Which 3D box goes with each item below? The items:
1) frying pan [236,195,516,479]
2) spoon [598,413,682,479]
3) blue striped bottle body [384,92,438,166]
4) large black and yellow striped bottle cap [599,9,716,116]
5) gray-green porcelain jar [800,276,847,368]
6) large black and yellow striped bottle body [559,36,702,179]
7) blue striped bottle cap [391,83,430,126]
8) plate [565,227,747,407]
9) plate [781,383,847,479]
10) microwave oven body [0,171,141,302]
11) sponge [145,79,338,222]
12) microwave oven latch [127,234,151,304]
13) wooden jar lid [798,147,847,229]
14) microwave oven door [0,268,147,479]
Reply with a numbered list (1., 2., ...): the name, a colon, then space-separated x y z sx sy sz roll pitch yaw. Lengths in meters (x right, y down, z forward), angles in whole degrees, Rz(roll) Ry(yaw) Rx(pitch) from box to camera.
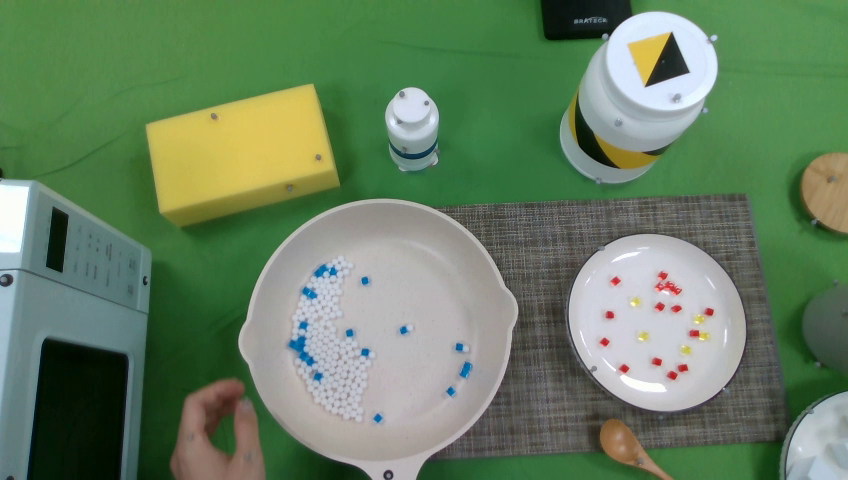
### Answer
1. frying pan: -0.041 0.190 0.650 0.307 0.103 0.484 -7 67 1
2. spoon: 0.272 0.264 0.678 0.193 0.022 0.041 38 62 7
3. blue striped bottle body: -0.015 -0.140 0.726 0.063 0.121 0.062 0 76 -1
4. large black and yellow striped bottle cap: 0.239 -0.183 0.620 0.115 0.019 0.114 0 75 0
5. gray-green porcelain jar: 0.498 0.088 0.674 0.106 0.127 0.105 0 75 -1
6. large black and yellow striped bottle body: 0.239 -0.162 0.703 0.131 0.185 0.130 0 75 0
7. blue striped bottle cap: -0.015 -0.152 0.676 0.044 0.021 0.044 0 73 1
8. plate: 0.267 0.089 0.713 0.209 0.038 0.208 0 76 0
9. plate: 0.499 0.264 0.676 0.208 0.039 0.206 0 76 0
10. microwave oven body: -0.477 0.186 0.563 0.326 0.261 0.439 -2 76 -2
11. sponge: -0.221 -0.109 0.747 0.207 0.061 0.117 -16 77 -5
12. microwave oven latch: -0.336 0.034 0.702 0.030 0.029 0.079 -1 77 -1
13. wooden jar lid: 0.526 -0.064 0.767 0.108 0.021 0.108 0 77 0
14. microwave oven door: -0.330 0.221 0.551 0.039 0.245 0.354 -2 76 -1
